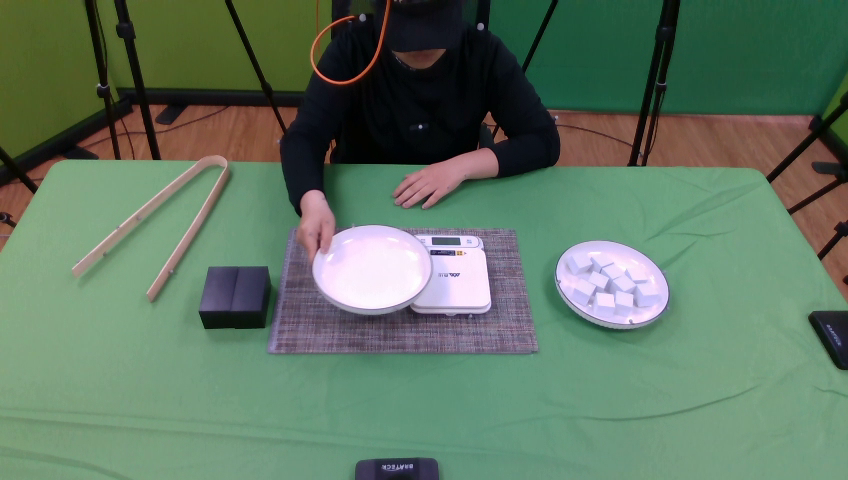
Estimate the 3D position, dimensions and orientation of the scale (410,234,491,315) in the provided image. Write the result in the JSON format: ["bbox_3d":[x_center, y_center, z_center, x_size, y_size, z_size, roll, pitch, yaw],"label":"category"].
[{"bbox_3d":[0.045,0.055,1.135,0.149,0.032,0.199,1,46,-3],"label":"scale"}]

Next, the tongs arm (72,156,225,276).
[{"bbox_3d":[-0.531,-0.057,1.204,0.050,0.026,0.383,19,47,13],"label":"tongs arm"}]

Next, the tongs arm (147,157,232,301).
[{"bbox_3d":[-0.453,-0.034,1.193,0.028,0.028,0.385,7,46,6],"label":"tongs arm"}]

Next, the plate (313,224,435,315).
[{"bbox_3d":[-0.086,0.053,1.051,0.208,0.039,0.206,2,43,-1],"label":"plate"}]

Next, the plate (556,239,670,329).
[{"bbox_3d":[0.347,0.083,1.130,0.209,0.038,0.208,2,47,-2],"label":"plate"}]
